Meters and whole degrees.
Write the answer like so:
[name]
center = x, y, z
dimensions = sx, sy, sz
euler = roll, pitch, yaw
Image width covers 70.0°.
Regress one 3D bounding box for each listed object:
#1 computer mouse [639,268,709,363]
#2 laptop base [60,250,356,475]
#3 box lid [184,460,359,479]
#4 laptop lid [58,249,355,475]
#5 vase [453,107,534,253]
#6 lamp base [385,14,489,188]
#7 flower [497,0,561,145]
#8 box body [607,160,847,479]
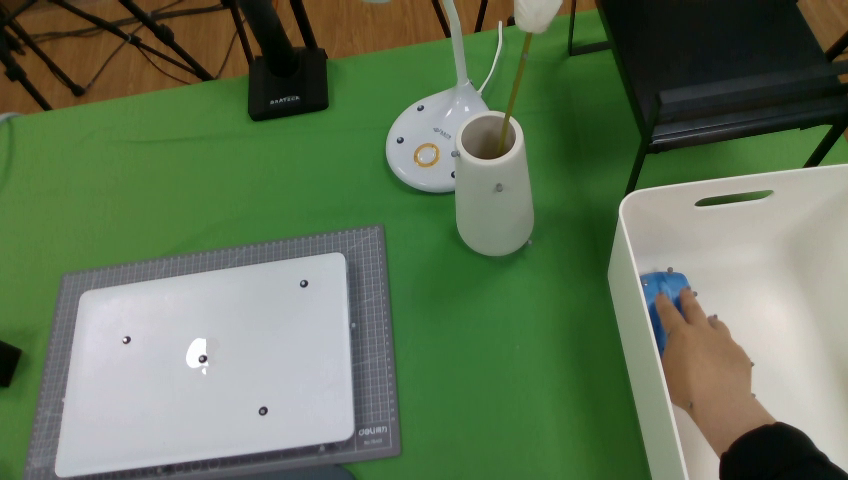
[computer mouse]
center = 0.275, 0.081, 0.680
dimensions = 0.063, 0.041, 0.116
euler = -7, 56, 6
[laptop base]
center = -0.261, 0.144, 0.743
dimensions = 0.354, 0.023, 0.233
euler = -9, 66, 3
[box lid]
center = -0.242, 0.384, 0.627
dimensions = 0.371, 0.015, 0.261
euler = -9, 63, 3
[laptop lid]
center = -0.262, 0.141, 0.732
dimensions = 0.356, 0.013, 0.239
euler = -7, 65, 4
[vase]
center = 0.078, -0.064, 0.698
dimensions = 0.098, 0.202, 0.097
euler = -4, 62, 8
[lamp base]
center = 0.020, -0.186, 0.778
dimensions = 0.160, 0.182, 0.178
euler = 23, 66, 18
[flower]
center = 0.081, -0.111, 0.628
dimensions = 0.038, 0.364, 0.043
euler = -13, 51, -18
[box body]
center = 0.338, 0.127, 0.586
dimensions = 0.254, 0.162, 0.361
euler = -7, 63, 5
